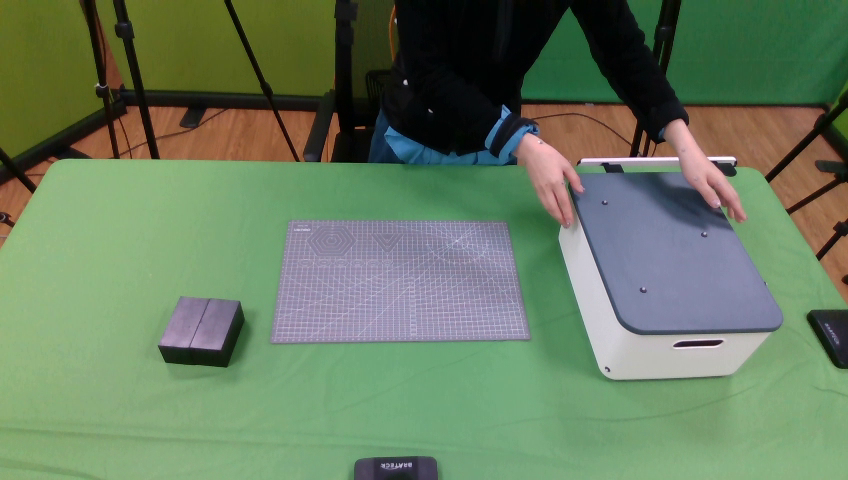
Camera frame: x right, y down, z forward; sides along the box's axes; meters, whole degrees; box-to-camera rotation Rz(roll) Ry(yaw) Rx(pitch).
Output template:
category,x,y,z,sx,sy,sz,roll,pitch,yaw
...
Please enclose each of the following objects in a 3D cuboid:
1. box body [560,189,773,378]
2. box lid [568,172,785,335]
category,x,y,z,sx,sy,sz,roll,pitch,yaw
box body,0.405,0.057,1.074,0.254,0.161,0.361,-2,46,-5
box lid,0.407,0.007,1.019,0.263,0.015,0.369,-1,46,-5
